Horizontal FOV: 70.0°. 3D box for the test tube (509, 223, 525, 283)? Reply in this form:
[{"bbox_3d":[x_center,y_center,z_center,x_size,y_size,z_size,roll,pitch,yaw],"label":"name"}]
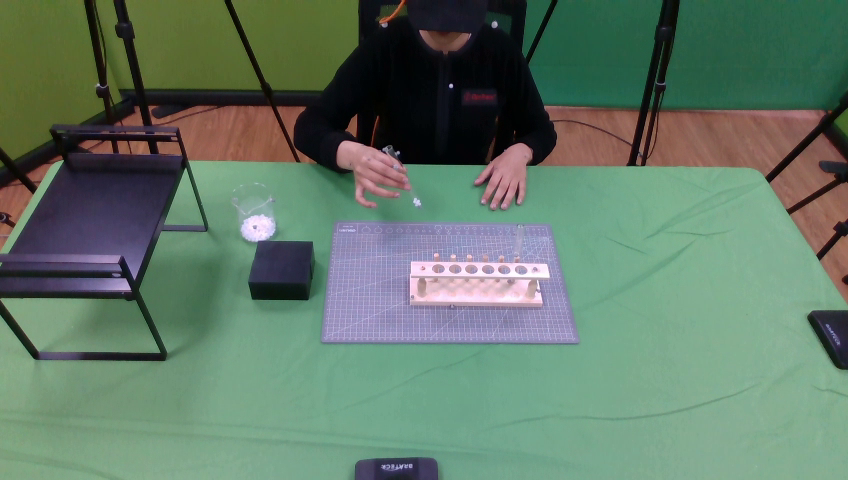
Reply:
[{"bbox_3d":[0.165,0.024,1.077,0.017,0.151,0.017,0,47,1],"label":"test tube"}]

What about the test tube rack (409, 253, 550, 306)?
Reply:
[{"bbox_3d":[0.095,0.067,1.093,0.242,0.085,0.066,1,47,-3],"label":"test tube rack"}]

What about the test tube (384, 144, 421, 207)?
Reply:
[{"bbox_3d":[-0.039,-0.120,1.150,0.017,0.151,0.017,-16,41,14],"label":"test tube"}]

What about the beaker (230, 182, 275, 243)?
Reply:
[{"bbox_3d":[-0.328,-0.049,1.166,0.074,0.101,0.083,2,47,-2],"label":"beaker"}]
